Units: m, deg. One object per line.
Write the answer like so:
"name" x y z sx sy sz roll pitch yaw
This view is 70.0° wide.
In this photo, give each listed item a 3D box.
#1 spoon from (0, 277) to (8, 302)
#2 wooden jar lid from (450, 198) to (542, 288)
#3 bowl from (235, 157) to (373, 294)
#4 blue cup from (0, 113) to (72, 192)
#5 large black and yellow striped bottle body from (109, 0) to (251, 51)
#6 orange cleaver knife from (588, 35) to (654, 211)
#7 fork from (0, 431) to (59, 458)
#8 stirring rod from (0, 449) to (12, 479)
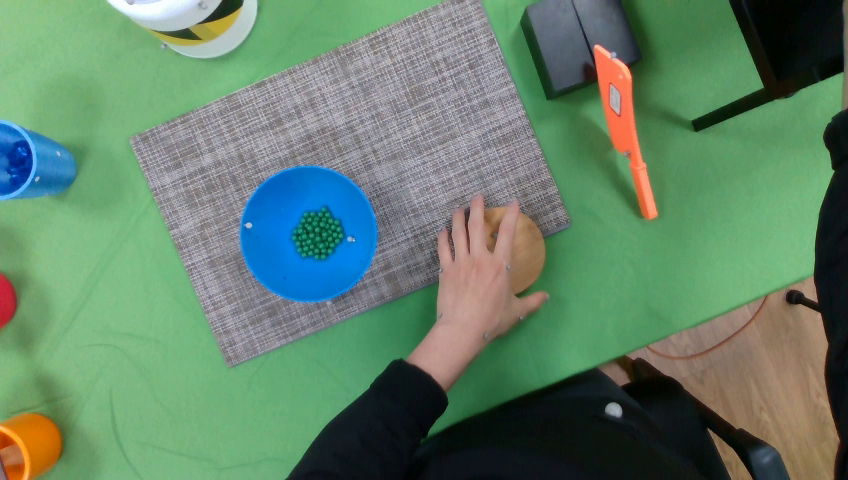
"spoon" -0.577 0.078 0.672 0.194 0.021 0.041 -18 94 -42
"wooden jar lid" 0.085 0.003 0.720 0.108 0.020 0.108 0 98 0
"bowl" -0.129 -0.016 0.693 0.151 0.077 0.151 0 92 1
"blue cup" -0.455 -0.094 0.684 0.093 0.100 0.092 0 93 -1
"large black and yellow striped bottle body" -0.270 -0.288 0.633 0.131 0.184 0.131 0 92 1
"orange cleaver knife" 0.223 -0.128 0.687 0.012 0.076 0.213 -27 121 -2
"fork" -0.528 0.249 0.675 0.208 0.018 0.028 -5 102 -43
"stirring rod" -0.483 0.221 0.672 0.014 0.006 0.176 -18 93 -1
